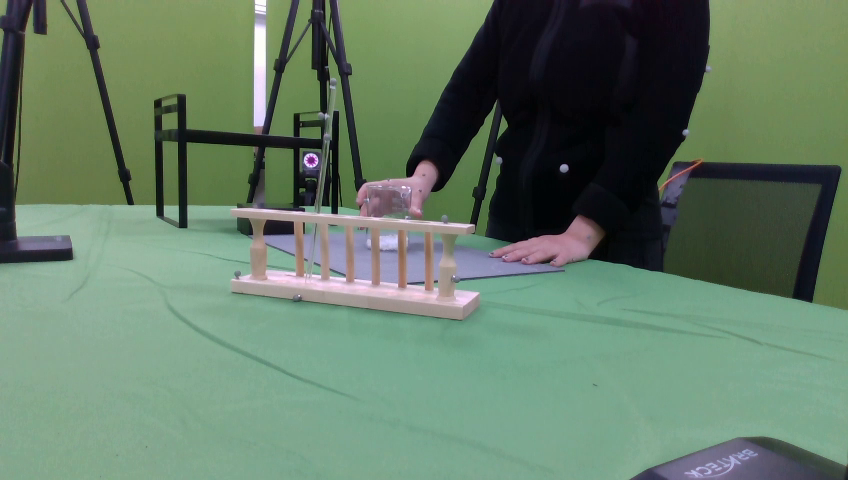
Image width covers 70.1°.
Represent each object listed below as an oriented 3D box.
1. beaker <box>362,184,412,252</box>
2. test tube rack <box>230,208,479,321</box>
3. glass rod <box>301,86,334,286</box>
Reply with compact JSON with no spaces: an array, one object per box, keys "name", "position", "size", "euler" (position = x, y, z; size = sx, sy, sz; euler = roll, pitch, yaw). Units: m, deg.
[{"name":"beaker","position":[-0.055,-0.034,0.935],"size":[0.074,0.100,0.083],"euler":[-6,11,-45]},{"name":"test tube rack","position":[-0.069,0.017,0.598],"size":[0.242,0.085,0.067],"euler":[5,8,18]},{"name":"glass rod","position":[-0.104,-0.049,0.588],"size":[0.008,0.199,0.008],"euler":[9,7,-1]}]
